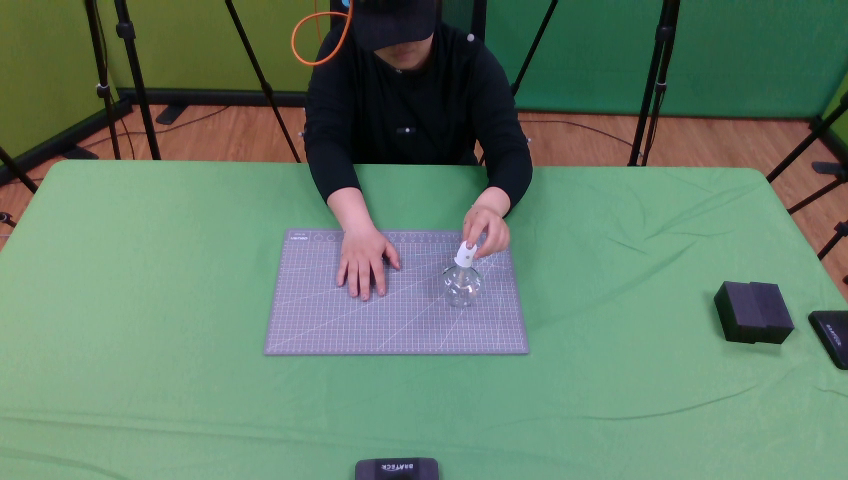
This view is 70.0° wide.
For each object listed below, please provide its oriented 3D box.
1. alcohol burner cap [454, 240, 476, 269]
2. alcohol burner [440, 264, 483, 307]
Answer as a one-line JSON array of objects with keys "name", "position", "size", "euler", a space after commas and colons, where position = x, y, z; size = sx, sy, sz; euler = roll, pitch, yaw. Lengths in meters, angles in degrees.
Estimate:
[{"name": "alcohol burner cap", "position": [0.072, 0.021, 1.035], "size": [0.034, 0.048, 0.033], "euler": [11, 38, -8]}, {"name": "alcohol burner", "position": [0.068, 0.064, 1.076], "size": [0.078, 0.120, 0.077], "euler": [1, 45, -1]}]
